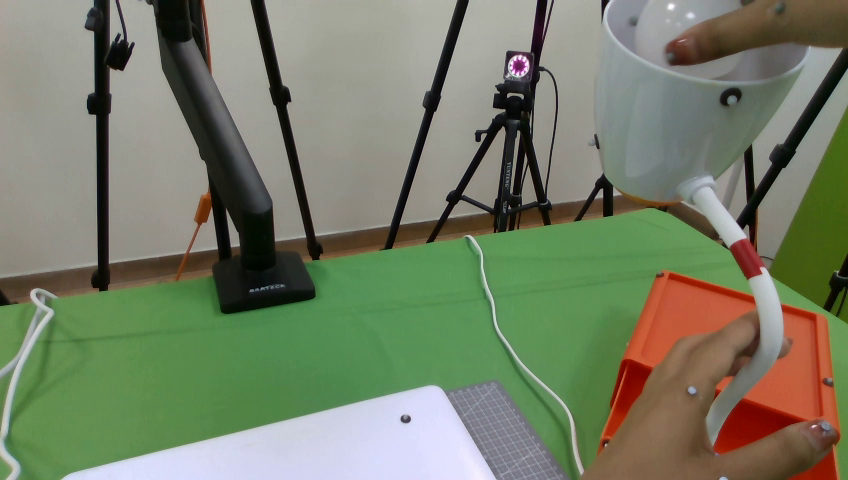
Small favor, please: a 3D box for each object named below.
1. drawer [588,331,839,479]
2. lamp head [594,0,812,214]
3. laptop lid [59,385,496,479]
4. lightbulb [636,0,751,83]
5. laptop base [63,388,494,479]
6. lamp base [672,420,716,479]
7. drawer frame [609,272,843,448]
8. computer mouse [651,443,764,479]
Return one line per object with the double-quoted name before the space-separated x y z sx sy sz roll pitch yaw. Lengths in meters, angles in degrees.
"drawer" 0.283 0.184 0.590 0.193 0.074 0.211 15 30 22
"lamp head" 0.158 -0.077 0.375 0.112 0.124 0.111 -1 43 1
"laptop lid" -0.102 0.231 0.485 0.358 0.013 0.239 -7 33 -21
"lightbulb" 0.153 -0.099 0.360 0.059 0.109 0.059 -3 48 4
"laptop base" -0.103 0.240 0.492 0.356 0.023 0.233 -8 34 -22
"lamp base" 0.174 0.222 0.393 0.161 0.181 0.177 2 26 -7
"drawer frame" 0.334 0.138 0.677 0.200 0.083 0.213 16 30 22
"computer mouse" 0.260 0.223 0.545 0.117 0.041 0.062 16 30 14
